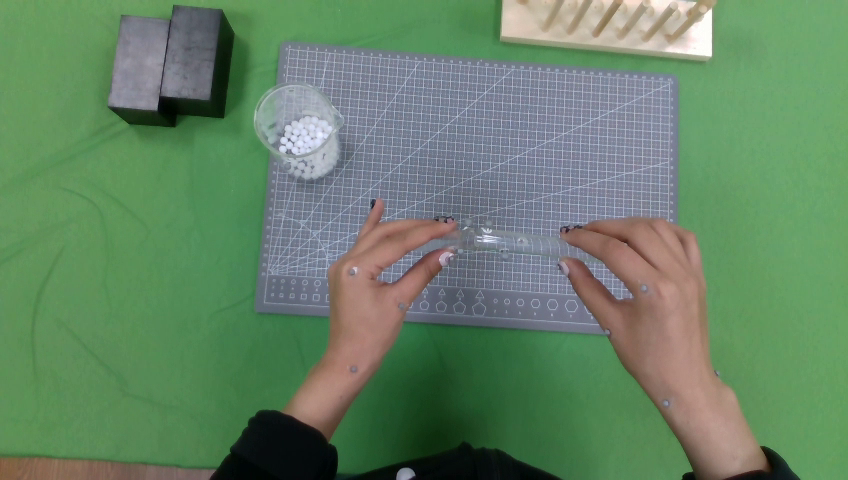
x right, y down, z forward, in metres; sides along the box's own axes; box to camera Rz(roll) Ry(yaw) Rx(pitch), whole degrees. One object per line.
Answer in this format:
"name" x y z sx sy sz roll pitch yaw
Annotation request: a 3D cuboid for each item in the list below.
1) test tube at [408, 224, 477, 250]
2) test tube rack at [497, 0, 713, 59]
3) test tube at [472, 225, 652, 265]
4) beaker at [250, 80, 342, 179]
"test tube" 0.011 -0.001 0.509 0.017 0.150 0.017 0 88 -16
"test tube rack" 0.208 -0.258 0.661 0.242 0.085 0.066 5 82 -2
"test tube" 0.107 0.004 0.456 0.151 0.017 0.017 6 81 -18
"beaker" -0.122 -0.106 0.611 0.084 0.100 0.074 -4 82 -4
